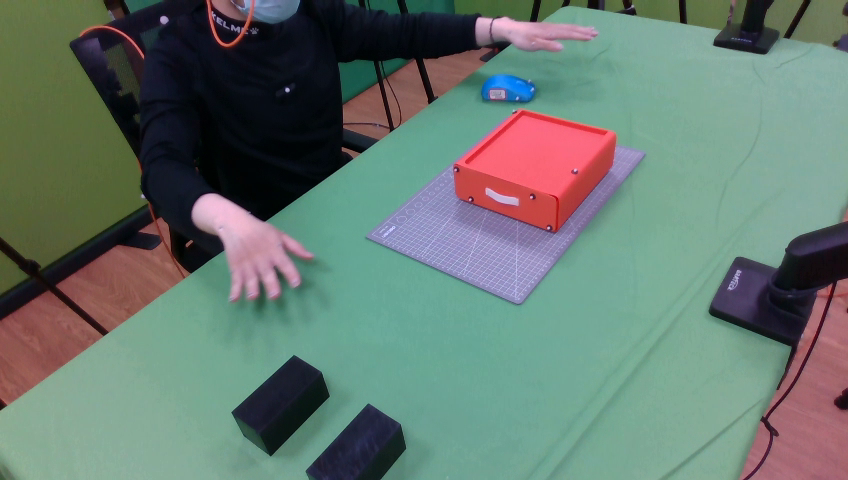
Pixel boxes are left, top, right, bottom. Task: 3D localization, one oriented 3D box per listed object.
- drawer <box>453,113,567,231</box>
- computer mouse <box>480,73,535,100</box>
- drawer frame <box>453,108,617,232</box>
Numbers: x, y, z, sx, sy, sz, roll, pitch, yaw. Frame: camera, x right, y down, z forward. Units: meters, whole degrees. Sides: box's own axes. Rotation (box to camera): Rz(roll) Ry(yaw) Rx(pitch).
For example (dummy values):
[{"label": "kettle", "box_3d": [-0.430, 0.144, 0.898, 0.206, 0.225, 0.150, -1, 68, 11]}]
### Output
[{"label": "drawer", "box_3d": [0.189, -0.126, 1.038, 0.193, 0.073, 0.212, 22, 48, 31]}, {"label": "computer mouse", "box_3d": [0.183, -0.335, 1.320, 0.117, 0.041, 0.063, 11, 42, 14]}, {"label": "drawer frame", "box_3d": [0.191, -0.128, 1.039, 0.200, 0.083, 0.214, 21, 47, 30]}]
